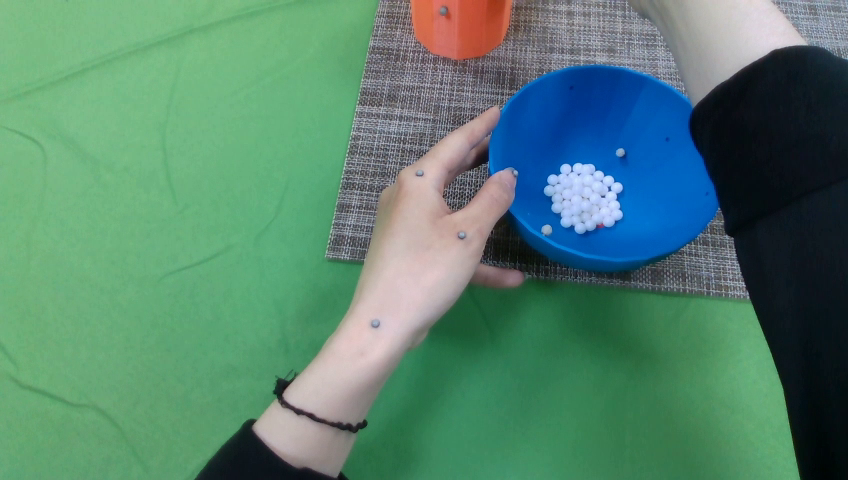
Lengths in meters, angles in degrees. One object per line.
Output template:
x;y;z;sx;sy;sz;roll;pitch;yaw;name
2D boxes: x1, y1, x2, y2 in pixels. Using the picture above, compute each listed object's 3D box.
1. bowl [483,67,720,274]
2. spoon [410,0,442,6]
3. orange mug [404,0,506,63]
0.113;-0.036;0.420;0.151;0.077;0.150;0;64;1;bowl
0.056;-0.231;0.447;0.042;0.193;0.021;45;50;-26;spoon
0.031;-0.228;0.504;0.083;0.101;0.125;16;70;9;orange mug
